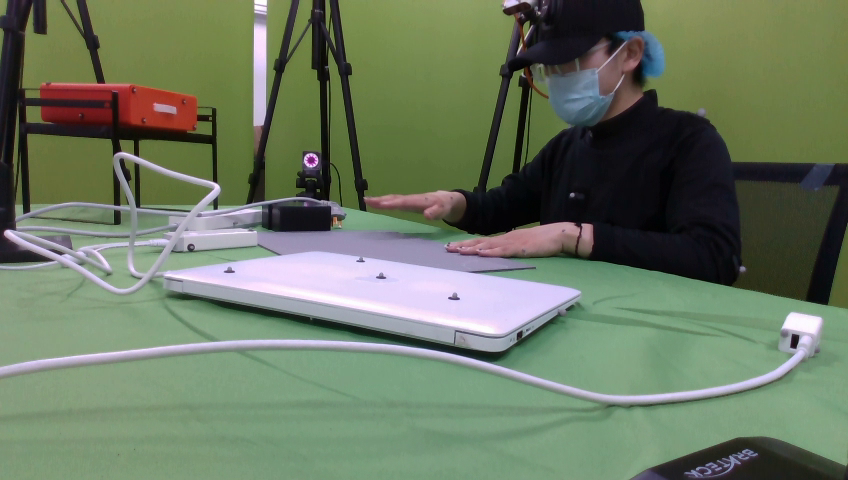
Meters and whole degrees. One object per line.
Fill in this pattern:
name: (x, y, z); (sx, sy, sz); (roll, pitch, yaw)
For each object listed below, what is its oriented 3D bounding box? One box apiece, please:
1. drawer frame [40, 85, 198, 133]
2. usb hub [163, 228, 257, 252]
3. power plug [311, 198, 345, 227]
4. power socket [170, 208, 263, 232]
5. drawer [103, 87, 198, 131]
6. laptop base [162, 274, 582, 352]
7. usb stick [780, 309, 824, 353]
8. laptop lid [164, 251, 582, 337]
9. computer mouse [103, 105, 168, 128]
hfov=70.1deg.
drawer frame: (-0.612, -0.266, 1.235); (0.213, 0.082, 0.202); (4, 8, 15)
usb hub: (-0.314, -0.001, 0.894); (0.049, 0.025, 0.126); (9, 10, 41)
power plug: (-0.195, -0.054, 1.220); (0.073, 0.052, 0.035); (4, -22, -21)
power socket: (-0.381, -0.038, 1.129); (0.072, 0.032, 0.227); (4, 8, 15)
drawer: (-0.609, -0.264, 1.235); (0.211, 0.073, 0.195); (3, 8, 16)
laptop base: (-0.046, 0.052, 0.598); (0.353, 0.023, 0.236); (6, 6, 28)
usb stick: (0.311, 0.072, 0.496); (0.027, 0.021, 0.059); (8, 16, 34)
laptop lid: (-0.045, 0.040, 0.599); (0.355, 0.013, 0.243); (7, 7, 30)
computer mouse: (-0.582, -0.249, 1.223); (0.118, 0.041, 0.062); (2, 3, -39)
